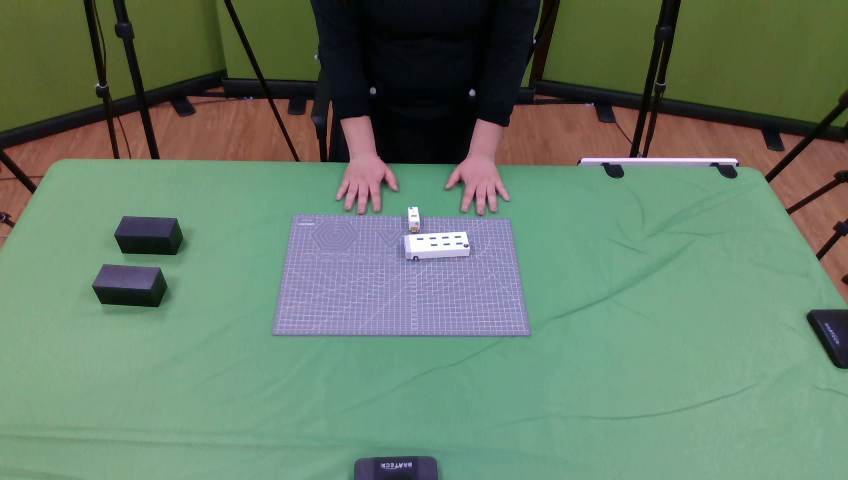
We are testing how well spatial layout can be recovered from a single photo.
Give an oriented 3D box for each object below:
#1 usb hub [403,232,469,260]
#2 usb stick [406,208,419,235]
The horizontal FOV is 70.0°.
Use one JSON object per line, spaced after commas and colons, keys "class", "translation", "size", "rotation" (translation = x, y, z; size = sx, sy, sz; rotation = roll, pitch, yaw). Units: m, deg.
{"class": "usb hub", "translation": [0.023, 0.012, 1.182], "size": [0.125, 0.025, 0.049], "rotation": [-3, 46, -7]}
{"class": "usb stick", "translation": [-0.023, -0.037, 1.226], "size": [0.021, 0.027, 0.059], "rotation": [0, 49, -8]}
